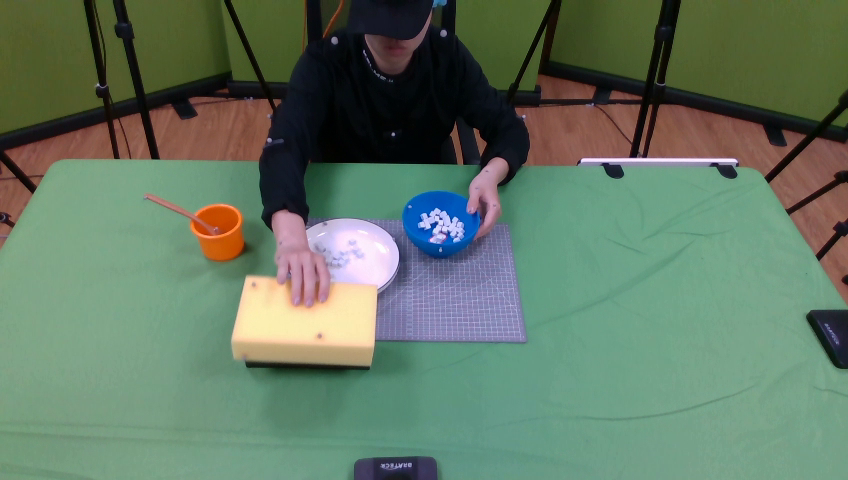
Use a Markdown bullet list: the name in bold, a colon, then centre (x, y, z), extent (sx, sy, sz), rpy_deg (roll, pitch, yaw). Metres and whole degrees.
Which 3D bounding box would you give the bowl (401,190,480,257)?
- **bowl**: centre (0.029, -0.019, 1.175), extent (0.151, 0.077, 0.150), rpy_deg (2, 46, -2)

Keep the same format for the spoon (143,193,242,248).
- **spoon**: centre (-0.421, -0.036, 1.113), extent (0.021, 0.195, 0.041), rpy_deg (-36, 37, 24)

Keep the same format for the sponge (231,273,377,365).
- **sponge**: centre (-0.180, 0.122, 0.938), extent (0.207, 0.061, 0.117), rpy_deg (5, 49, -9)

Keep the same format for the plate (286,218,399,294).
- **plate**: centre (-0.150, 0.042, 1.131), extent (0.209, 0.038, 0.208), rpy_deg (2, 46, -2)
